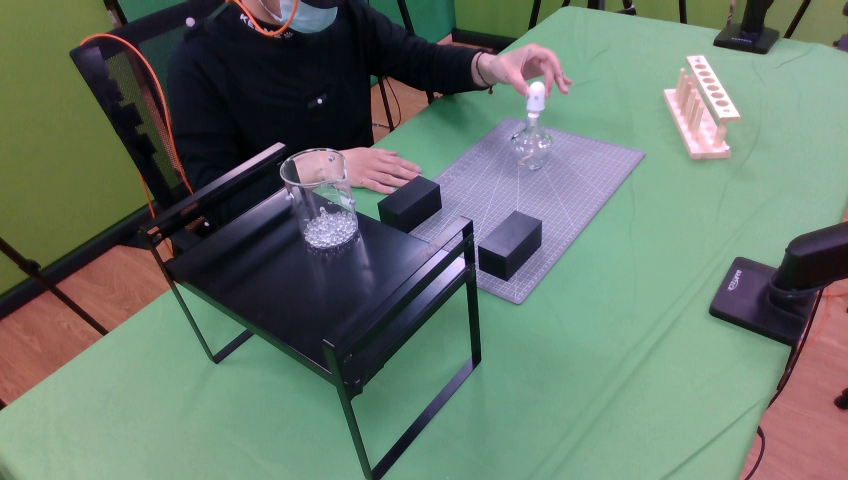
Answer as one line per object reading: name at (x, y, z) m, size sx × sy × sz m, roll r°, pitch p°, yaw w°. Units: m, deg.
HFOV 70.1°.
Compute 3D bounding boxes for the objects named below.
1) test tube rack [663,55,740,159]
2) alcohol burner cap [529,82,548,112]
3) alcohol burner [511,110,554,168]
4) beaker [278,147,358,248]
test tube rack at (0.518, -0.256, 1.144) m, size 0.066 × 0.085 × 0.241 m, roll -1°, pitch 41°, yaw 8°
alcohol burner cap at (0.196, -0.249, 1.042) m, size 0.034 × 0.048 × 0.033 m, roll -8°, pitch 31°, yaw 5°
alcohol burner at (0.195, -0.190, 1.088) m, size 0.078 × 0.119 × 0.077 m, roll -3°, pitch 42°, yaw 3°
beaker at (-0.117, -0.046, 0.705) m, size 0.083 × 0.101 × 0.074 m, roll 17°, pitch 47°, yaw 25°
